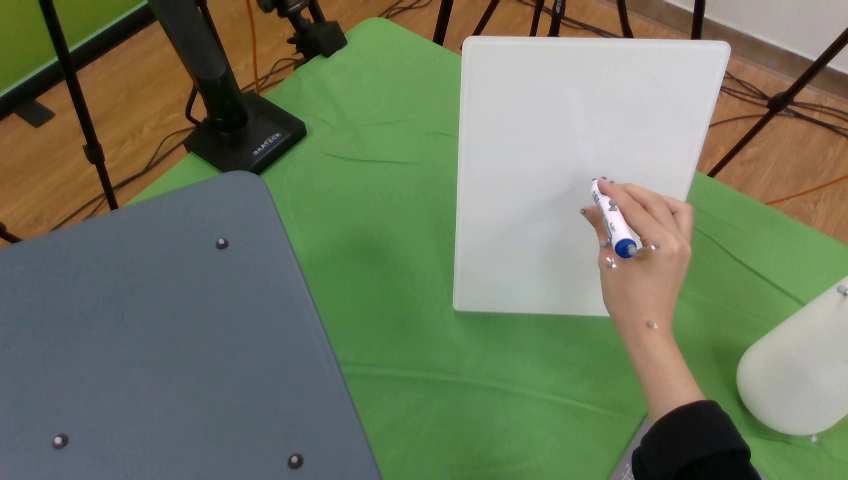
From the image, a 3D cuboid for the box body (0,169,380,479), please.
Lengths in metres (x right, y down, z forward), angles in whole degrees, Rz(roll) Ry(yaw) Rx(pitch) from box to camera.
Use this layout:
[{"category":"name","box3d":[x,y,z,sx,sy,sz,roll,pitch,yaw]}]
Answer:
[{"category":"box body","box3d":[-0.203,0.148,0.528,0.254,0.162,0.360,-22,60,-13]}]

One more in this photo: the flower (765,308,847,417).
[{"category":"flower","box3d":[0.355,0.034,0.476,0.044,0.364,0.038,26,44,20]}]

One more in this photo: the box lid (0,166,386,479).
[{"category":"box lid","box3d":[-0.205,0.105,0.466,0.263,0.015,0.367,-21,60,-13]}]

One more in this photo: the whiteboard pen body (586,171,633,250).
[{"category":"whiteboard pen body","box3d":[0.147,-0.030,0.492,0.017,0.017,0.139,3,28,3]}]

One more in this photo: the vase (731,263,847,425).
[{"category":"vase","box3d":[0.354,0.092,0.537,0.098,0.202,0.097,0,56,1]}]

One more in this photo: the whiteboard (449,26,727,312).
[{"category":"whiteboard","box3d":[0.139,-0.087,0.627,0.217,0.308,0.142,2,38,3]}]
